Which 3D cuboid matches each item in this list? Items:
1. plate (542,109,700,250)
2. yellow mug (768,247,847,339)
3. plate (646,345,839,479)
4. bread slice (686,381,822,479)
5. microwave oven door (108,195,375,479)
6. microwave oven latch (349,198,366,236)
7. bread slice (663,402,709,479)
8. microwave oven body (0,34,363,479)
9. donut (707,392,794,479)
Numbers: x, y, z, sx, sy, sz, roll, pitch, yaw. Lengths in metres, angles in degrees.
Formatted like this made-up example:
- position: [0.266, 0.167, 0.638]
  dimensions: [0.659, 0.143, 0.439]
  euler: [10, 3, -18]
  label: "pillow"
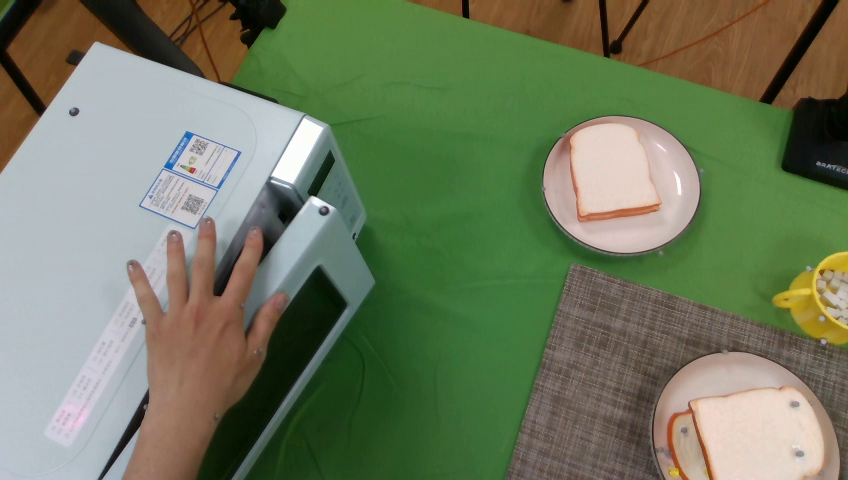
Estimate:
- position: [0.263, -0.080, 0.827]
  dimensions: [0.207, 0.039, 0.206]
  euler: [-1, 70, 4]
  label: "plate"
- position: [0.492, 0.066, 0.740]
  dimensions: [0.131, 0.064, 0.099]
  euler: [-1, 69, 6]
  label: "yellow mug"
- position: [0.361, 0.227, 0.702]
  dimensions: [0.209, 0.038, 0.207]
  euler: [-1, 70, 4]
  label: "plate"
- position: [0.355, 0.204, 0.648]
  dimensions: [0.134, 0.018, 0.106]
  euler: [-13, 76, -8]
  label: "bread slice"
- position: [-0.181, 0.143, 0.651]
  dimensions: [0.039, 0.245, 0.355]
  euler: [29, 74, 15]
  label: "microwave oven door"
- position: [-0.106, -0.022, 0.814]
  dimensions: [0.030, 0.030, 0.079]
  euler: [24, 74, 12]
  label: "microwave oven latch"
- position: [0.349, 0.232, 0.703]
  dimensions: [0.131, 0.019, 0.104]
  euler: [-12, 69, -1]
  label: "bread slice"
- position: [-0.320, 0.047, 0.702]
  dimensions: [0.325, 0.262, 0.440]
  euler: [21, 73, 11]
  label: "microwave oven body"
- position: [0.364, 0.220, 0.675]
  dimensions: [0.099, 0.048, 0.098]
  euler: [3, 75, -12]
  label: "donut"
